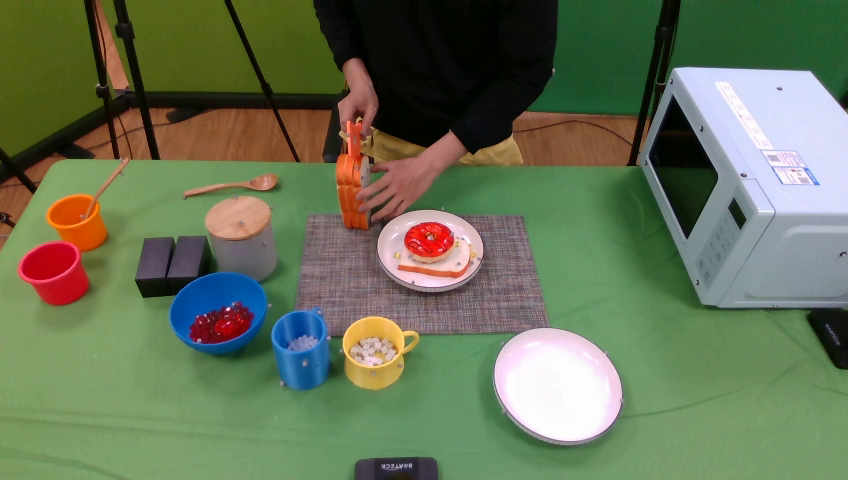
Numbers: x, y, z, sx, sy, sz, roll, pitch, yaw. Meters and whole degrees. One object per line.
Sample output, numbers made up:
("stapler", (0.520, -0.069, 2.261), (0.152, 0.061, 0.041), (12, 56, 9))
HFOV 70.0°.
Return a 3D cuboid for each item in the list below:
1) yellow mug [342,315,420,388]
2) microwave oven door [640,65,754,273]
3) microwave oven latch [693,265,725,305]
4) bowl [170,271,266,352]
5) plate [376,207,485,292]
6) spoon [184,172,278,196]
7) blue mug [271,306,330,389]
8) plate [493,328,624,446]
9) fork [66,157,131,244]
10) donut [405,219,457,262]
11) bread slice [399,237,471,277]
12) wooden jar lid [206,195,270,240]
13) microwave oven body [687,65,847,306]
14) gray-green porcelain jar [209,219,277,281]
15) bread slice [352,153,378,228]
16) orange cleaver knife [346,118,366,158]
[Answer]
("yellow mug", (-0.068, 0.177, 0.990), (0.131, 0.064, 0.099), (-15, 50, -19))
("microwave oven door", (0.523, -0.147, 1.193), (0.039, 0.245, 0.353), (0, 47, -3))
("microwave oven latch", (0.523, 0.081, 1.115), (0.030, 0.029, 0.078), (2, 46, -1))
("bowl", (-0.334, 0.132, 1.006), (0.151, 0.077, 0.150), (2, 46, -2))
("plate", (0.012, 0.021, 1.159), (0.209, 0.038, 0.208), (2, 47, -2))
("spoon", (-0.405, -0.116, 1.275), (0.194, 0.022, 0.041), (-8, 66, -12))
("blue mug", (-0.188, 0.163, 0.969), (0.082, 0.106, 0.116), (15, 47, 10))
("plate", (0.213, 0.236, 0.974), (0.208, 0.039, 0.206), (2, 46, -2))
("fork", (-0.608, -0.074, 1.132), (0.207, 0.019, 0.028), (-52, 48, 10))
("donut", (0.012, -0.001, 1.141), (0.099, 0.048, 0.098), (0, 44, 0))
("bread slice", (0.025, 0.025, 1.161), (0.131, 0.019, 0.104), (7, 47, 8))
("wooden jar lid", (-0.319, -0.036, 1.046), (0.108, 0.021, 0.107), (1, 44, 0))
("microwave oven body", (0.669, -0.111, 1.176), (0.326, 0.261, 0.439), (0, 46, -3))
("gray-green porcelain jar", (-0.323, 0.007, 1.092), (0.106, 0.127, 0.105), (2, 46, -2))
("bread slice", (-0.118, -0.104, 1.208), (0.018, 0.135, 0.106), (-1, 45, 9))
("orange cleaver knife", (-0.132, -0.205, 1.197), (0.012, 0.077, 0.210), (-4, 15, 4))
